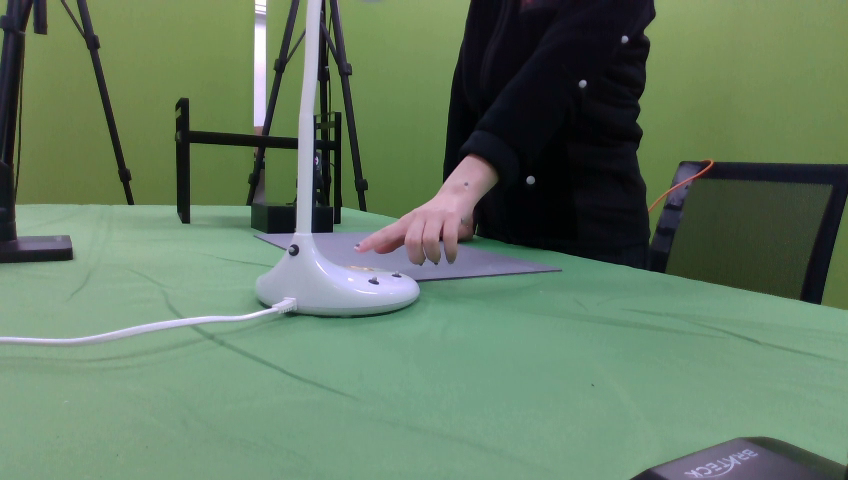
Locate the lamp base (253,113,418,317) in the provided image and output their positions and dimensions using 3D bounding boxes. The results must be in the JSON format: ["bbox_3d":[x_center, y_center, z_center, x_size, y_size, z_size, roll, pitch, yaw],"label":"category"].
[{"bbox_3d":[-0.087,-0.027,0.576,0.160,0.180,0.179,4,10,16],"label":"lamp base"}]

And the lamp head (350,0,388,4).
[{"bbox_3d":[-0.054,-0.313,0.596,0.112,0.112,0.123,6,-28,25],"label":"lamp head"}]
